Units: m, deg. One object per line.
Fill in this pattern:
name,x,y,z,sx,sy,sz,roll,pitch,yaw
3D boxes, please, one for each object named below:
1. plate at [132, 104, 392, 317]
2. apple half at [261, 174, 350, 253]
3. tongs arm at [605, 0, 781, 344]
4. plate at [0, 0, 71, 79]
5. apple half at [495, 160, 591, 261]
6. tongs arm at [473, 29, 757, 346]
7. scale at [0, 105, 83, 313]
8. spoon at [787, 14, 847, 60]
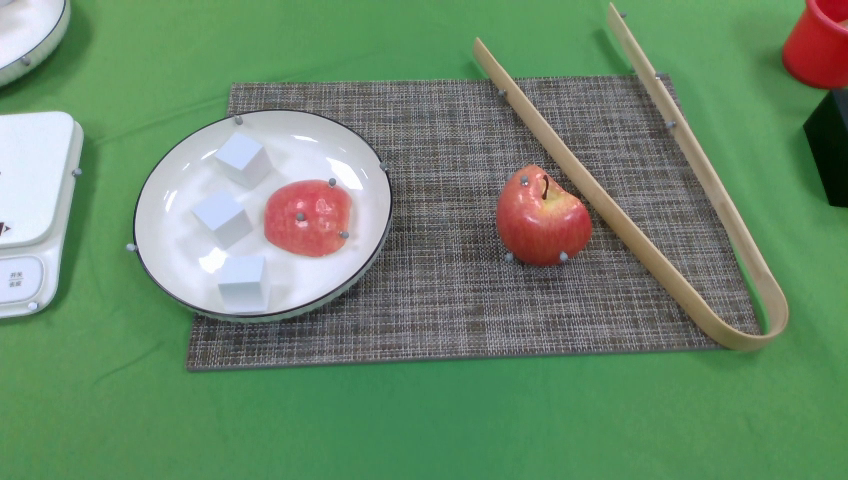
plate,-0.130,-0.026,0.509,0.209,0.038,0.207,1,59,-1
apple half,-0.100,-0.030,0.506,0.081,0.033,0.080,2,59,-4
tongs arm,0.226,-0.089,0.560,0.051,0.027,0.381,-12,61,-9
plate,-0.469,-0.224,0.623,0.208,0.039,0.205,1,59,-1
apple half,0.087,-0.016,0.488,0.053,0.075,0.080,-37,70,-17
tongs arm,0.147,-0.065,0.545,0.028,0.028,0.384,-23,63,-19
scale,-0.378,-0.029,0.512,0.149,0.032,0.199,-6,60,-5
spoon,0.459,-0.238,0.592,0.193,0.022,0.041,-32,50,32
